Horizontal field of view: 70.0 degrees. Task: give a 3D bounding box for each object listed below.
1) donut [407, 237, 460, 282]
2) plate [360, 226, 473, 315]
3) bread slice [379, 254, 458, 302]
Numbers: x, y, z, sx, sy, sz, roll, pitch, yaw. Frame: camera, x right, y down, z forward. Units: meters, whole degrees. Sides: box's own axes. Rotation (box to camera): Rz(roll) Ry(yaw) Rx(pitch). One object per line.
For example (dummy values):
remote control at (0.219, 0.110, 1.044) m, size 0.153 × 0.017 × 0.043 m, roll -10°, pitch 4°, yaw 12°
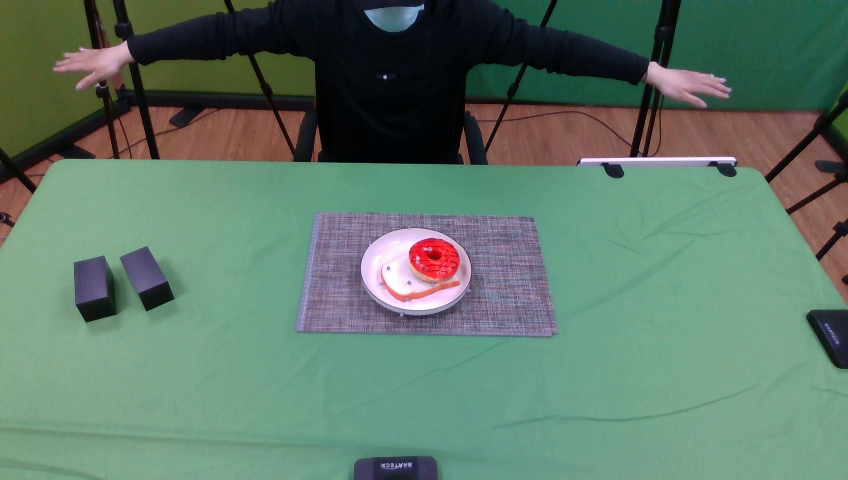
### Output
donut at (0.017, 0.037, 1.109) m, size 0.099 × 0.048 × 0.098 m, roll 5°, pitch 44°, yaw -4°
plate at (-0.013, 0.059, 1.124) m, size 0.208 × 0.039 × 0.206 m, roll 2°, pitch 46°, yaw -2°
bread slice at (-0.014, 0.064, 1.123) m, size 0.132 × 0.019 × 0.104 m, roll -17°, pitch 50°, yaw -22°
